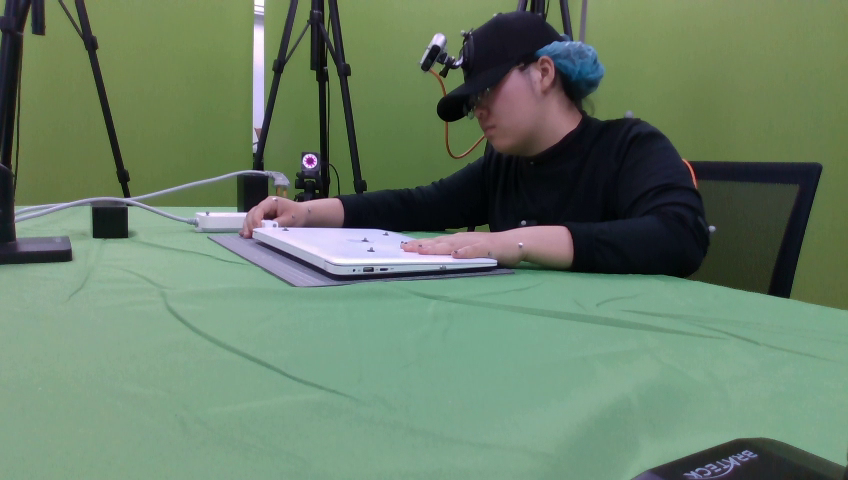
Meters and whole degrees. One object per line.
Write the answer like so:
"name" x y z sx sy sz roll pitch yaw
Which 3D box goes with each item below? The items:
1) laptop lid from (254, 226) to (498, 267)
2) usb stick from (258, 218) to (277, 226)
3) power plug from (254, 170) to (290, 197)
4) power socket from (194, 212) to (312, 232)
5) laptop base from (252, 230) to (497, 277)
"laptop lid" -0.086 0.006 0.876 0.243 0.013 0.355 1 7 -30
"usb stick" -0.256 -0.019 0.995 0.021 0.027 0.059 -7 17 -29
"power plug" -0.322 -0.119 1.283 0.073 0.052 0.035 2 -15 -14
"power socket" -0.322 -0.036 1.152 0.228 0.032 0.072 -3 8 -34
"laptop base" -0.089 0.017 0.876 0.237 0.023 0.352 2 6 -32
